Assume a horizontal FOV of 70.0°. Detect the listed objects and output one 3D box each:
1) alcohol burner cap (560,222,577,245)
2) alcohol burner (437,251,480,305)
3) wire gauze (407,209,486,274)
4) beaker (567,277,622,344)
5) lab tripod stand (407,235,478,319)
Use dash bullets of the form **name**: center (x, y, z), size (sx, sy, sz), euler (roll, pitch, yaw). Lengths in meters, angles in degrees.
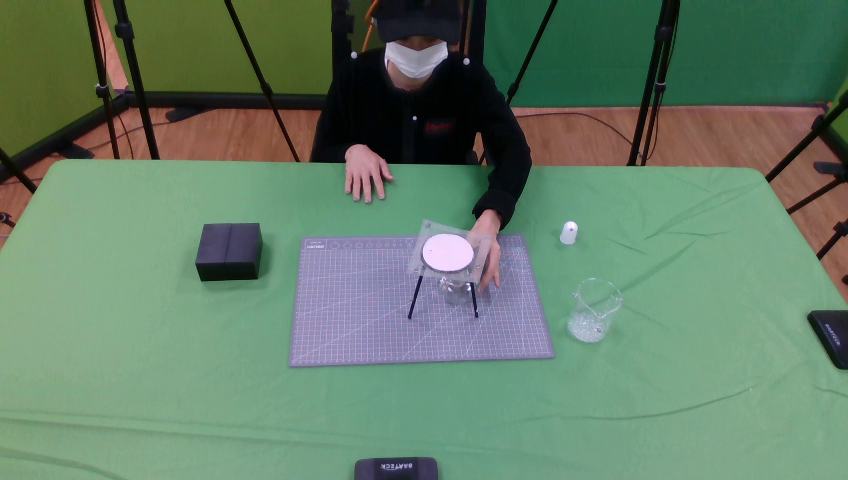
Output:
- **alcohol burner cap**: center (0.295, -0.016, 1.225), size (0.034, 0.048, 0.033), euler (1, 47, -1)
- **alcohol burner**: center (0.062, 0.061, 1.076), size (0.078, 0.120, 0.077), euler (0, 49, 0)
- **wire gauze**: center (0.036, 0.003, 1.001), size (0.125, 0.011, 0.120), euler (-7, 52, -1)
- **beaker**: center (0.290, 0.127, 1.045), size (0.074, 0.101, 0.083), euler (7, 47, 4)
- **lab tripod stand**: center (0.032, 0.065, 1.057), size (0.148, 0.132, 0.147), euler (1, 45, -1)
